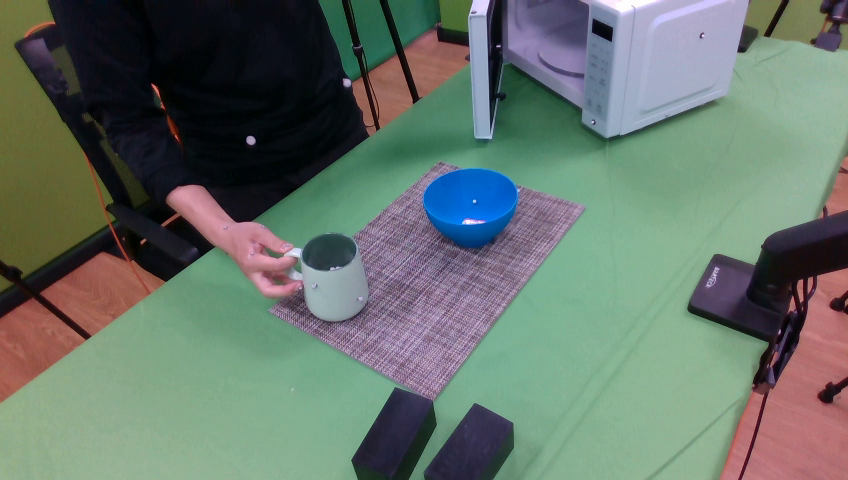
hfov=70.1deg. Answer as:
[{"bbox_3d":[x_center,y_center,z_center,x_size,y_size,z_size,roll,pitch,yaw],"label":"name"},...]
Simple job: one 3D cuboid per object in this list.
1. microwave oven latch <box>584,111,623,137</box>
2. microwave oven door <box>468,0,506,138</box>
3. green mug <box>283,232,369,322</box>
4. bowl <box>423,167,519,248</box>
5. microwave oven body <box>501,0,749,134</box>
[{"bbox_3d":[0.337,-0.222,1.142,0.030,0.029,0.078,-21,42,-14],"label":"microwave oven latch"},{"bbox_3d":[0.133,-0.403,1.225,0.039,0.245,0.354,0,41,12],"label":"microwave oven door"},{"bbox_3d":[-0.143,0.050,0.856,0.125,0.105,0.092,13,45,16],"label":"green mug"},{"bbox_3d":[0.075,-0.041,0.959,0.151,0.077,0.150,-4,40,4],"label":"bowl"},{"bbox_3d":[0.382,-0.445,1.246,0.327,0.261,0.437,-22,42,-16],"label":"microwave oven body"}]
